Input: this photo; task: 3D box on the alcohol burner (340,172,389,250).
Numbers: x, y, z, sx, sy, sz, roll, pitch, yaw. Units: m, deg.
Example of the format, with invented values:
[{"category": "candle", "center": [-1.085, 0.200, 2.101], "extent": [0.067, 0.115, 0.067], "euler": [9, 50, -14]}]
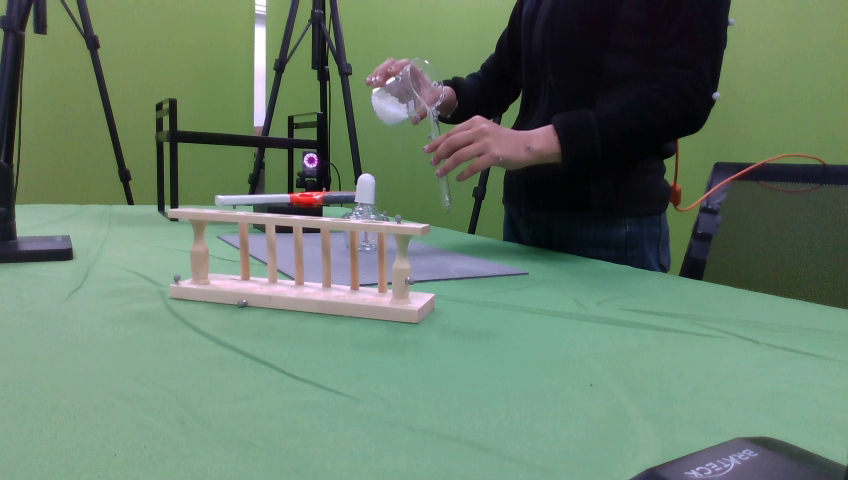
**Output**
[{"category": "alcohol burner", "center": [-0.094, -0.045, 0.939], "extent": [0.078, 0.119, 0.078], "euler": [0, 7, 0]}]

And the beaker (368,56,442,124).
[{"category": "beaker", "center": [-0.031, -0.225, 0.938], "extent": [0.074, 0.084, 0.100], "euler": [-10, -5, -45]}]

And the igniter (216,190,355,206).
[{"category": "igniter", "center": [-0.249, -0.079, 1.151], "extent": [0.278, 0.025, 0.057], "euler": [-4, 11, -27]}]

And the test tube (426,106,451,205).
[{"category": "test tube", "center": [0.021, -0.125, 0.894], "extent": [0.017, 0.150, 0.017], "euler": [-9, -8, -1]}]

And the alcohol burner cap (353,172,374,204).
[{"category": "alcohol burner cap", "center": [-0.092, -0.081, 0.935], "extent": [0.034, 0.048, 0.034], "euler": [6, 10, -1]}]

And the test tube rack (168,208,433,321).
[{"category": "test tube rack", "center": [-0.116, 0.018, 0.573], "extent": [0.242, 0.085, 0.067], "euler": [4, 8, 14]}]
